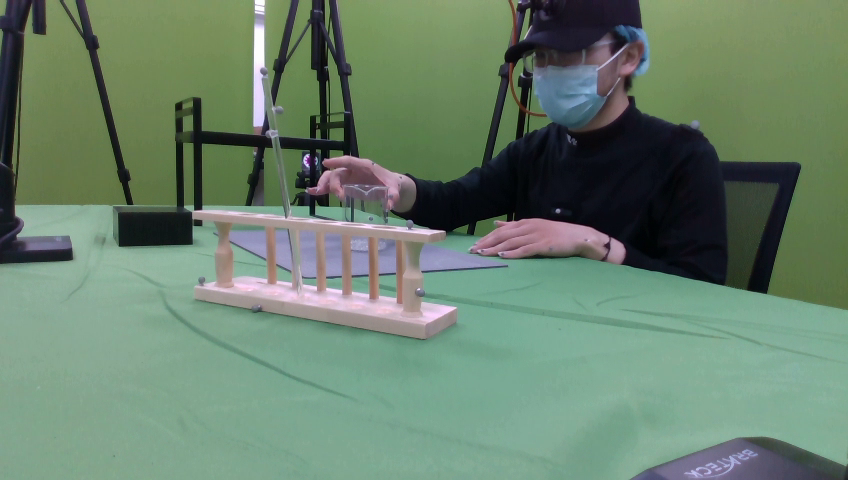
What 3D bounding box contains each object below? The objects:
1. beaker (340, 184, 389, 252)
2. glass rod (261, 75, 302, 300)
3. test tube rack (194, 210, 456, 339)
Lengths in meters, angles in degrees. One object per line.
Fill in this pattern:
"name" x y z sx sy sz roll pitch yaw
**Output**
"beaker" -0.091 -0.034 0.920 0.074 0.100 0.084 1 8 -8
"glass rod" -0.124 -0.043 0.531 0.008 0.199 0.008 -7 8 1
"test tube rack" -0.093 0.023 0.546 0.241 0.085 0.067 6 8 25
